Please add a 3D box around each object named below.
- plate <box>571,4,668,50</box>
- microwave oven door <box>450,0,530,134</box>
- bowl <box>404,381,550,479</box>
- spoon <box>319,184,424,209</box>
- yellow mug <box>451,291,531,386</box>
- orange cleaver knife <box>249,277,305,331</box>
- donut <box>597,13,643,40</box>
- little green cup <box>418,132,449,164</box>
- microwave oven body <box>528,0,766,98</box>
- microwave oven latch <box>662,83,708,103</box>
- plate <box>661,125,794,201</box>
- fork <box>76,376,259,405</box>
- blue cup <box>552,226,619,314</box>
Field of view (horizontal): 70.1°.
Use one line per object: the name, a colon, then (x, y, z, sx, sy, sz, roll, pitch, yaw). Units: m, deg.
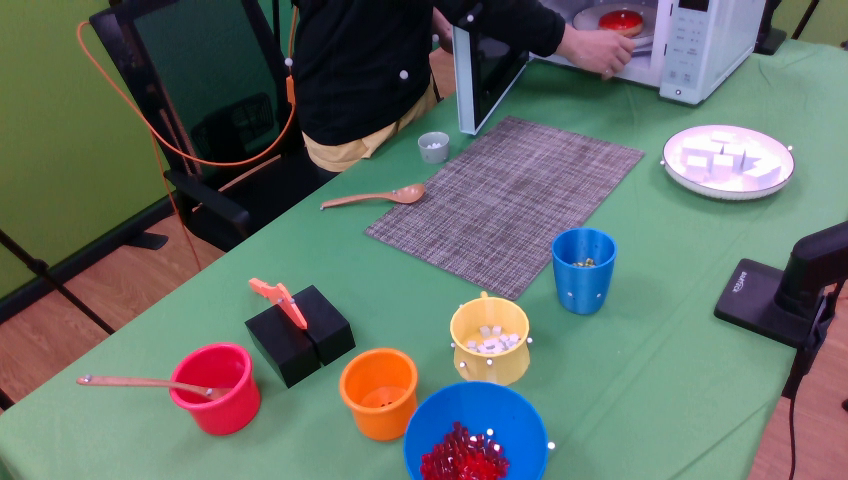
plate: (0.435, -0.474, 1.357, 0.209, 0.038, 0.208, -4, 40, 4)
microwave oven door: (0.145, -0.412, 1.240, 0.039, 0.245, 0.356, 13, 44, 23)
bowl: (0.058, 0.235, 0.645, 0.151, 0.077, 0.150, -4, 39, 4)
spoon: (-0.094, -0.075, 1.074, 0.193, 0.022, 0.041, -5, 55, 6)
yellow mug: (0.085, 0.120, 0.786, 0.100, 0.064, 0.130, -7, 39, 1)
orange cleaver knife: (-0.210, 0.088, 0.856, 0.012, 0.077, 0.210, -28, 15, -25)
donut: (0.436, -0.477, 1.346, 0.099, 0.048, 0.098, -5, 33, 4)
little green cup: (0.019, -0.177, 1.168, 0.061, 0.039, 0.061, -2, 41, 2)
microwave oven body: (0.472, -0.513, 1.317, 0.438, 0.261, 0.327, 26, 51, 34)
microwave oven latch: (0.519, -0.297, 1.204, 0.078, 0.029, 0.030, 29, 53, 36)
plate: (0.513, -0.128, 1.035, 0.207, 0.039, 0.206, -4, 40, 4)
fork: (-0.295, 0.176, 0.716, 0.209, 0.018, 0.028, 20, 27, -37)
blue cup: (0.218, 0.047, 0.826, 0.092, 0.101, 0.092, -6, 40, 5)
